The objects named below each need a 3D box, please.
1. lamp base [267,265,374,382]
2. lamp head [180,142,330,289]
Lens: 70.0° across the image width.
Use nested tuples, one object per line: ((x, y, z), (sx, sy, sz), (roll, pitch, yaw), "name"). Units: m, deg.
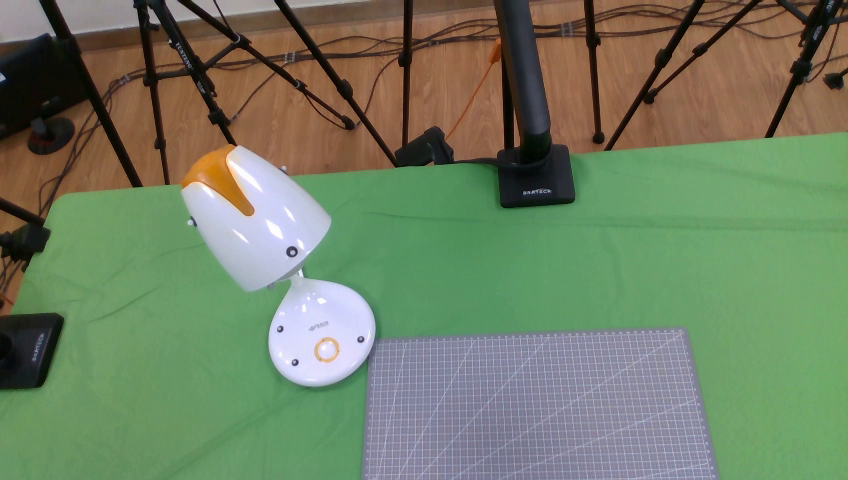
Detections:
((-0.170, 0.085, 0.837), (0.160, 0.182, 0.177), (-29, 57, -9), "lamp base")
((-0.169, -0.033, 0.578), (0.112, 0.124, 0.111), (-33, 20, 14), "lamp head")
